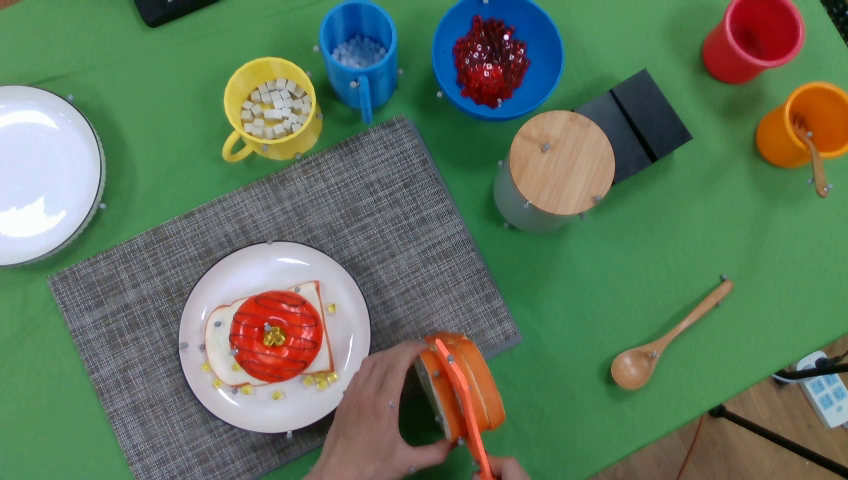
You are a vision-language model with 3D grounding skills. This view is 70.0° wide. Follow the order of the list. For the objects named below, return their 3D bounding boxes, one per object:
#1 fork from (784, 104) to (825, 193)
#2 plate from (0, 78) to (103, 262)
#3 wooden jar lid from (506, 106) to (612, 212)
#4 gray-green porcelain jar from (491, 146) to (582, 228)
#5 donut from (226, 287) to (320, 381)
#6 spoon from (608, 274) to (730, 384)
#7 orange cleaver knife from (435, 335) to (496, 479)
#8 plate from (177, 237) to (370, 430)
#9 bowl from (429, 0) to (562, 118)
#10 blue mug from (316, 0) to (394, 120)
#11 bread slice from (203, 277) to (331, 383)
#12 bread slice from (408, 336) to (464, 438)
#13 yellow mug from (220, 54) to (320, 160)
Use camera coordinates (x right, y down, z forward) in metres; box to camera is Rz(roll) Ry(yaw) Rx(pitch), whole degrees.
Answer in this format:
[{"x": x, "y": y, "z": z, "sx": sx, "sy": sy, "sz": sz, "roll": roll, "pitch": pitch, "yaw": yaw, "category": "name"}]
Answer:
[{"x": 0.430, "y": -0.107, "z": 0.683, "sx": 0.028, "sy": 0.019, "sz": 0.206, "roll": 37, "pitch": 38, "yaw": -5, "category": "fork"}, {"x": -0.463, "y": -0.077, "z": 0.680, "sx": 0.208, "sy": 0.039, "sz": 0.207, "roll": 1, "pitch": 82, "yaw": -3, "category": "plate"}, {"x": 0.135, "y": -0.080, "z": 0.610, "sx": 0.108, "sy": 0.021, "sz": 0.108, "roll": 1, "pitch": 84, "yaw": -6, "category": "wooden jar lid"}, {"x": 0.132, "y": -0.071, "z": 0.672, "sx": 0.106, "sy": 0.127, "sz": 0.105, "roll": 1, "pitch": 82, "yaw": -4, "category": "gray-green porcelain jar"}, {"x": -0.159, "y": 0.099, "z": 0.643, "sx": 0.099, "sy": 0.048, "sz": 0.099, "roll": 1, "pitch": 83, "yaw": -7, "category": "donut"}, {"x": 0.292, "y": 0.101, "z": 0.710, "sx": 0.193, "sy": 0.022, "sz": 0.041, "roll": -38, "pitch": 68, "yaw": -7, "category": "spoon"}, {"x": 0.047, "y": 0.191, "z": 0.587, "sx": 0.012, "sy": 0.076, "sz": 0.212, "roll": -21, "pitch": 108, "yaw": -11, "category": "orange cleaver knife"}, {"x": -0.162, "y": 0.101, "z": 0.671, "sx": 0.209, "sy": 0.038, "sz": 0.208, "roll": 1, "pitch": 82, "yaw": -3, "category": "plate"}, {"x": 0.078, "y": -0.207, "z": 0.711, "sx": 0.151, "sy": 0.077, "sz": 0.151, "roll": 0, "pitch": 82, "yaw": -3, "category": "bowl"}, {"x": -0.074, "y": -0.195, "z": 0.687, "sx": 0.082, "sy": 0.106, "sz": 0.116, "roll": -6, "pitch": 82, "yaw": -4, "category": "blue mug"}, {"x": -0.176, "y": 0.105, "z": 0.673, "sx": 0.132, "sy": 0.019, "sz": 0.104, "roll": -13, "pitch": 82, "yaw": -9, "category": "bread slice"}, {"x": 0.012, "y": 0.150, "z": 0.632, "sx": 0.018, "sy": 0.134, "sz": 0.106, "roll": -21, "pitch": 82, "yaw": -7, "category": "bread slice"}, {"x": -0.183, "y": -0.141, "z": 0.692, "sx": 0.100, "sy": 0.064, "sz": 0.131, "roll": 42, "pitch": 83, "yaw": 4, "category": "yellow mug"}]
